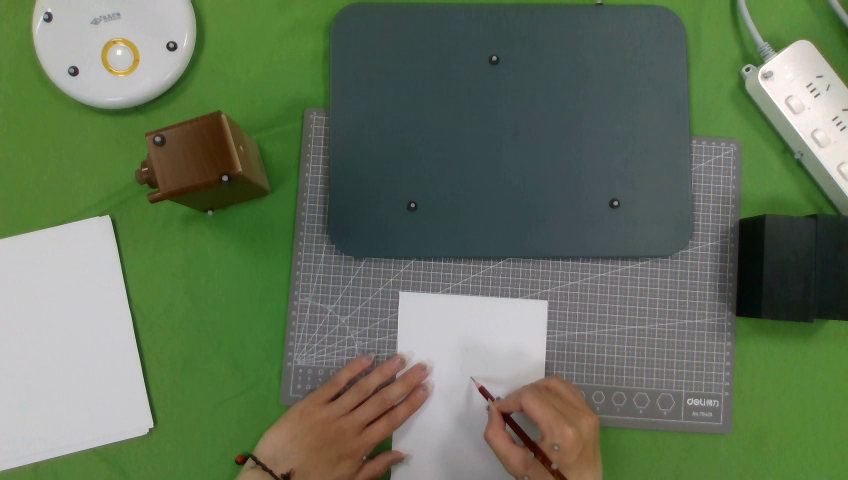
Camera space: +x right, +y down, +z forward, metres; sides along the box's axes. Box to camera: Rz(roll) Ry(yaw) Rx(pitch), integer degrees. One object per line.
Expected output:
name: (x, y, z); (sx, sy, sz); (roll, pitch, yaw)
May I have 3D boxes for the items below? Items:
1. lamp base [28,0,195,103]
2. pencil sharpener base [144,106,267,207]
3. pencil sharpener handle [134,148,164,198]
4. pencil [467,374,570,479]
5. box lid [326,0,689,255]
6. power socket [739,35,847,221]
lamp base: (-0.315, -0.232, 0.530); (0.160, 0.180, 0.179); (-27, 85, -3)
pencil sharpener base: (-0.199, -0.073, 0.560); (0.077, 0.107, 0.061); (-17, 87, -2)
pencil sharpener handle: (-0.247, -0.055, 0.545); (0.030, 0.068, 0.036); (-17, 74, -2)
pencil: (0.088, 0.172, 0.526); (0.012, 0.192, 0.012); (-14, 120, -25)
box lid: (0.087, -0.116, 0.617); (0.372, 0.015, 0.262); (0, 86, -1)
power socket: (0.415, -0.107, 0.615); (0.072, 0.032, 0.226); (-36, 88, -3)
